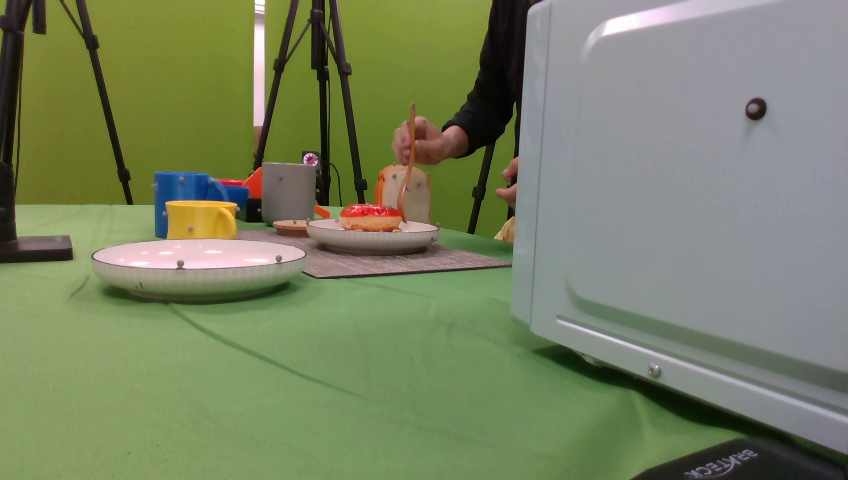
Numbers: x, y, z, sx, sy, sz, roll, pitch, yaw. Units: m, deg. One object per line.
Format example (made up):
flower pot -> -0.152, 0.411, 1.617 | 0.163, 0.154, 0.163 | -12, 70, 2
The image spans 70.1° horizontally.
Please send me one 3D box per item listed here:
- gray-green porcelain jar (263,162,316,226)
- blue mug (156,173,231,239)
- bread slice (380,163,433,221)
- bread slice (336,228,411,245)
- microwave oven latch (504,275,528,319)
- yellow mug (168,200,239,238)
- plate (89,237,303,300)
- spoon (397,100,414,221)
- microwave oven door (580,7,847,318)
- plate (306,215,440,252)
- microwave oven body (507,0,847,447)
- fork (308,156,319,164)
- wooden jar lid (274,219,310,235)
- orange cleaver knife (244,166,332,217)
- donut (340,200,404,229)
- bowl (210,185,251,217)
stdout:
gray-green porcelain jar -> -0.271, -0.092, 1.217 | 0.106, 0.126, 0.106 | 2, 7, 0
blue mug -> -0.381, -0.057, 1.004 | 0.117, 0.106, 0.082 | 0, 8, -12
bread slice -> -0.035, -0.076, 1.124 | 0.107, 0.134, 0.018 | -3, 0, -26
bread slice -> -0.074, -0.007, 0.938 | 0.105, 0.019, 0.131 | -1, 6, -18
microwave oven latch -> 0.100, 0.041, 0.471 | 0.079, 0.029, 0.030 | -1, 7, -29
yellow mug -> -0.319, -0.023, 0.904 | 0.130, 0.064, 0.100 | 9, 11, 36
plate -> -0.233, 0.029, 0.637 | 0.208, 0.039, 0.207 | 2, 7, 0
spoon -> -0.026, -0.127, 0.972 | 0.021, 0.193, 0.041 | 7, 4, 1
microwave oven door -> 0.295, -0.067, 0.570 | 0.358, 0.243, 0.039 | -3, 8, -31
plate -> -0.079, -0.011, 0.950 | 0.209, 0.038, 0.209 | 2, 8, 0
microwave oven body -> 0.331, -0.042, 0.425 | 0.444, 0.260, 0.324 | -2, 8, -31
fork -> -0.331, -0.144, 1.506 | 0.207, 0.018, 0.028 | -42, -19, 22
wooden jar lid -> -0.213, -0.023, 1.080 | 0.108, 0.020, 0.108 | 3, 7, 0
orange cleaver knife -> -0.301, -0.089, 1.351 | 0.212, 0.077, 0.012 | 32, -11, -34
donut -> -0.081, -0.038, 0.944 | 0.099, 0.048, 0.099 | 0, 7, 0
bowl -> -0.408, -0.064, 1.155 | 0.151, 0.077, 0.151 | 2, 8, 0
